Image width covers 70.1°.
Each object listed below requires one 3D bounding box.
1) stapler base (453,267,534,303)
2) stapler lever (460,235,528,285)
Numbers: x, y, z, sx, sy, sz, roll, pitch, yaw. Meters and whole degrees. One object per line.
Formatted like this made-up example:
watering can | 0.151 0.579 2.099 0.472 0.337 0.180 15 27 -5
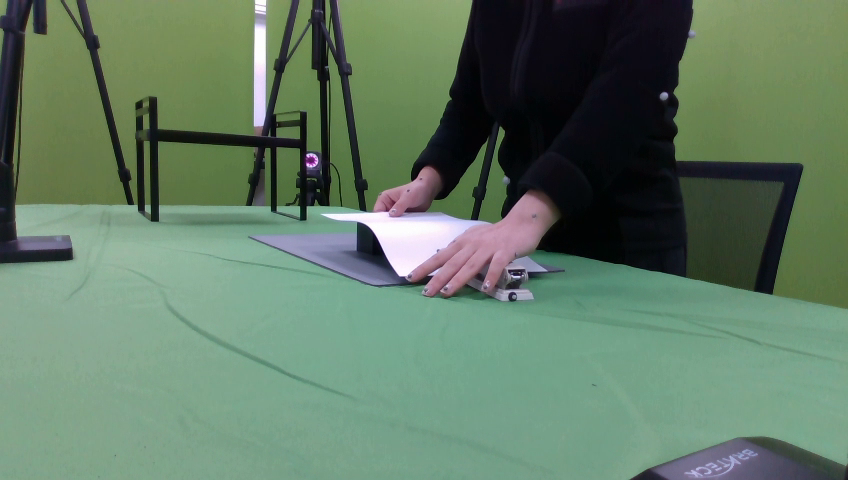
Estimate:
stapler base | 0.075 0.043 0.686 0.041 0.024 0.130 -7 13 -22
stapler lever | 0.076 0.020 0.681 0.027 0.040 0.117 -7 11 -22
